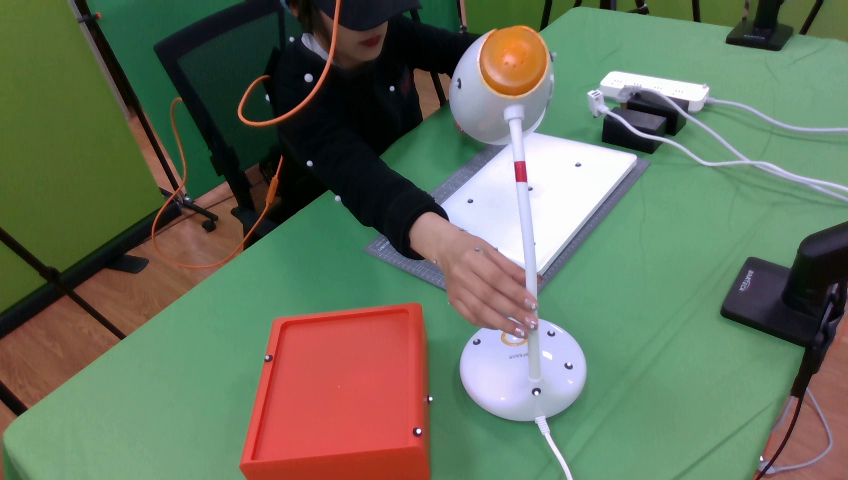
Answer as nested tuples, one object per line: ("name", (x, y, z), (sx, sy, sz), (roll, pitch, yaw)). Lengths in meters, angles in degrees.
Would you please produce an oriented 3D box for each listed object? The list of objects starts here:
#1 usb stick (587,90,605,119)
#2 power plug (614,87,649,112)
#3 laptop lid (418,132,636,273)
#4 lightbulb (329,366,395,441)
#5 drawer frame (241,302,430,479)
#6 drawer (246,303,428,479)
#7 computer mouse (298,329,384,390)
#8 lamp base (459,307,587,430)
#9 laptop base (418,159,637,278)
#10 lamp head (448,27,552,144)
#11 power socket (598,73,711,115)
("usb stick", (0.334, -0.258, 1.171), (0.021, 0.059, 0.027), (-28, 44, -4))
("power plug", (0.406, -0.275, 1.192), (0.035, 0.053, 0.072), (-15, 24, -16))
("laptop lid", (0.181, -0.084, 1.036), (0.239, 0.013, 0.358), (22, 49, 35))
("lightbulb", (-0.080, 0.196, 0.738), (0.060, 0.060, 0.107), (-32, 61, -25))
("drawer frame", (-0.095, 0.184, 0.739), (0.202, 0.083, 0.212), (-7, 40, 3))
("drawer", (-0.097, 0.184, 0.743), (0.194, 0.073, 0.210), (-6, 41, 3))
("computer mouse", (-0.111, 0.156, 0.798), (0.117, 0.041, 0.062), (-15, 41, 1))
("lamp base", (0.119, 0.107, 0.713), (0.161, 0.181, 0.178), (-14, 42, -6))
("laptop base", (0.185, -0.074, 1.042), (0.233, 0.023, 0.355), (19, 47, 35))
("lamp head", (0.082, -0.161, 0.618), (0.112, 0.112, 0.123), (-10, 2, 0))
("power socket", (0.469, -0.304, 1.249), (0.225, 0.033, 0.072), (20, 49, 30))
